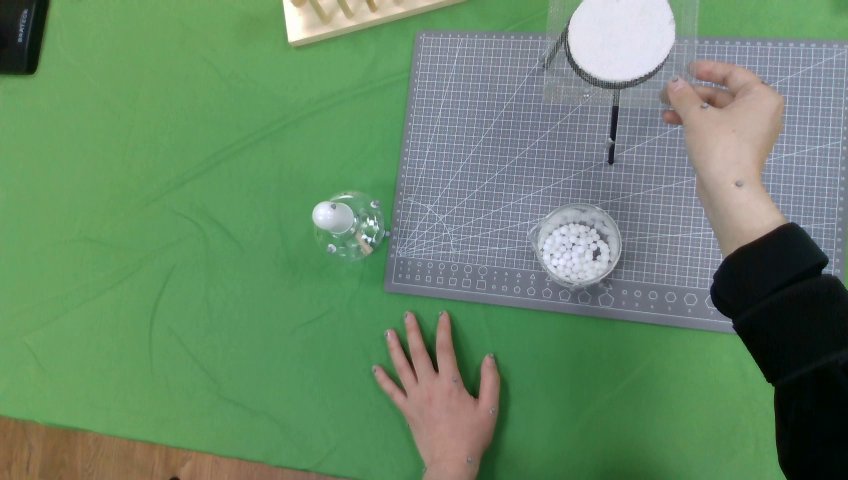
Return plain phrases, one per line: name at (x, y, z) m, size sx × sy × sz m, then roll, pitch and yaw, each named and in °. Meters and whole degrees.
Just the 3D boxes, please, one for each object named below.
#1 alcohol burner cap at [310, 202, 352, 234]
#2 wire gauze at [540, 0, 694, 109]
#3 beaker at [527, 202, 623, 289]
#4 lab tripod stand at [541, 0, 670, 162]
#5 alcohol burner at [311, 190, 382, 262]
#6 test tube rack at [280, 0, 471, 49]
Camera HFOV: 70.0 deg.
alcohol burner cap at (-0.094, -0.023, 0.592) m, size 0.034 × 0.048 × 0.034 m, roll -1°, pitch 86°, yaw 12°
wire gauze at (0.163, -0.171, 0.509) m, size 0.124 × 0.011 × 0.121 m, roll 4°, pitch 88°, yaw 17°
beaker at (0.142, 0.009, 0.580) m, size 0.083 × 0.101 × 0.074 m, roll 12°, pitch 85°, yaw 14°
lab tripod stand at (0.177, -0.161, 0.576) m, size 0.148 × 0.132 × 0.148 m, roll -1°, pitch 84°, yaw 10°
alcohol burner at (-0.085, -0.018, 0.627) m, size 0.078 × 0.120 × 0.077 m, roll -2°, pitch 81°, yaw 11°
test tube rack at (-0.057, -0.289, 0.668) m, size 0.242 × 0.085 × 0.066 m, roll -12°, pitch 80°, yaw 10°
